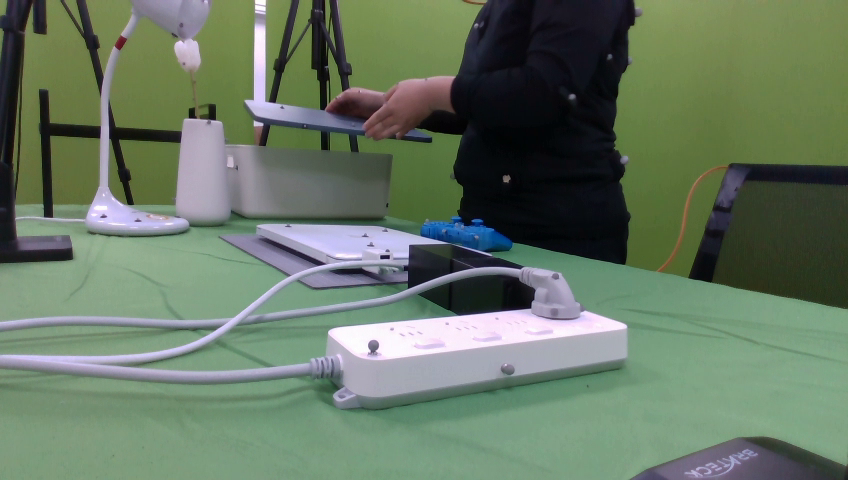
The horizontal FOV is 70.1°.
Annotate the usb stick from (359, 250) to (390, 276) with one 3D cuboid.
[{"bbox_3d":[-0.061,0.026,0.709,0.021,0.027,0.059,-2,3,-29],"label":"usb stick"}]

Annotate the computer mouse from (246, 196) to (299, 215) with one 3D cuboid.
[{"bbox_3d":[-0.355,-0.083,1.418,0.117,0.041,0.063,0,9,7],"label":"computer mouse"}]

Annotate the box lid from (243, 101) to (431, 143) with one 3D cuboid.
[{"bbox_3d":[-0.192,-0.255,1.303,0.373,0.015,0.262,3,18,-24],"label":"box lid"}]

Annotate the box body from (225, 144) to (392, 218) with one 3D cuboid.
[{"bbox_3d":[-0.289,-0.143,1.475,0.366,0.160,0.253,-1,9,-29],"label":"box body"}]

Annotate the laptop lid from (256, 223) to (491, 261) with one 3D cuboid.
[{"bbox_3d":[-0.092,0.000,0.911,0.243,0.013,0.355,1,7,-30],"label":"laptop lid"}]

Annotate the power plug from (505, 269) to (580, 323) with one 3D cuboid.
[{"bbox_3d":[0.092,0.051,0.470,0.035,0.052,0.072,0,6,-16],"label":"power plug"}]

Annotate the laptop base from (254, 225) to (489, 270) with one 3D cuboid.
[{"bbox_3d":[-0.095,0.010,0.911,0.237,0.023,0.352,3,6,-32],"label":"laptop base"}]

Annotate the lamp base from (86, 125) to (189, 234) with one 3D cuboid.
[{"bbox_3d":[-0.497,-0.105,1.027,0.179,0.180,0.160,1,7,3],"label":"lamp base"}]

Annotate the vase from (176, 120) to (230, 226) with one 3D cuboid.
[{"bbox_3d":[-0.424,-0.128,1.159,0.098,0.200,0.098,2,9,0],"label":"vase"}]

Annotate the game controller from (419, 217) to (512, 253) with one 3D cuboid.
[{"bbox_3d":[0.063,-0.009,1.028,0.154,0.051,0.097,9,15,43],"label":"game controller"}]

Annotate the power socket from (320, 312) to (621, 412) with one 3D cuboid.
[{"bbox_3d":[0.038,0.075,0.409,0.228,0.032,0.072,-2,8,-29],"label":"power socket"}]

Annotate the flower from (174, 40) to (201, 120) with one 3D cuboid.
[{"bbox_3d":[-0.430,-0.211,1.166,0.044,0.361,0.038,-10,-5,-22],"label":"flower"}]

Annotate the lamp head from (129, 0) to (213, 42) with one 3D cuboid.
[{"bbox_3d":[-0.423,-0.394,0.980,0.123,0.112,0.112,20,7,-3],"label":"lamp head"}]
